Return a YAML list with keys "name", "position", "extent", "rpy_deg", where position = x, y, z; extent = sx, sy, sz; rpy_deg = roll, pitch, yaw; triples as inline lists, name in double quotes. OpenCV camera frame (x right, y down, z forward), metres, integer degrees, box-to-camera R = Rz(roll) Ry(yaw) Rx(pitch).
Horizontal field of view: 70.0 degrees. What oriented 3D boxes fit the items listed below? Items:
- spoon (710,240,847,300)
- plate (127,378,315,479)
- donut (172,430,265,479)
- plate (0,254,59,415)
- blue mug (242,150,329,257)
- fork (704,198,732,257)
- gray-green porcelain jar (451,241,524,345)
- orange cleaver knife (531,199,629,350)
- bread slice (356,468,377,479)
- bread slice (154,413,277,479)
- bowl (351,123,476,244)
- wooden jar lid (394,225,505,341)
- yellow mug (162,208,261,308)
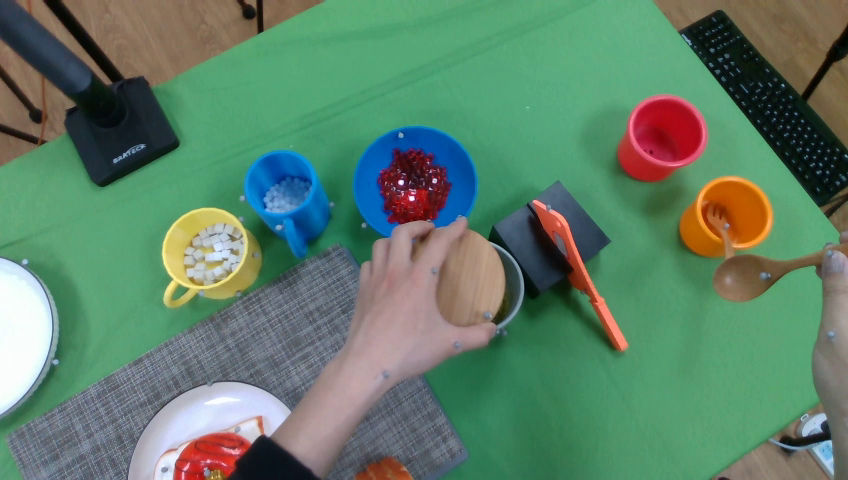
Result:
- name: "spoon"
  position: [0.288, 0.015, 0.454]
  extent: [0.022, 0.194, 0.041]
  rpy_deg: [0, 77, -13]
- name: "plate"
  position: [-0.224, 0.263, 0.685]
  extent: [0.209, 0.038, 0.208]
  rpy_deg: [0, 75, 0]
- name: "donut"
  position: [-0.222, 0.257, 0.657]
  extent: [0.099, 0.048, 0.098]
  rpy_deg: [1, 75, -3]
- name: "plate"
  position: [-0.539, 0.119, 0.726]
  extent: [0.208, 0.039, 0.206]
  rpy_deg: [0, 75, 0]
- name: "blue mug"
  position: [-0.163, -0.036, 0.736]
  extent: [0.082, 0.106, 0.116]
  rpy_deg: [-11, 75, -3]
- name: "fork"
  position: [0.346, 0.001, 0.705]
  extent: [0.028, 0.019, 0.206]
  rpy_deg: [30, 33, 2]
- name: "gray-green porcelain jar"
  position: [0.053, 0.065, 0.699]
  extent: [0.106, 0.127, 0.105]
  rpy_deg: [0, 74, 0]
- name: "orange cleaver knife"
  position: [0.186, 0.042, 0.728]
  extent: [0.012, 0.076, 0.212]
  rpy_deg: [-34, 107, -9]
- name: "bread slice"
  position: [-0.043, 0.291, 0.633]
  extent: [0.018, 0.135, 0.106]
  rpy_deg: [-23, 74, -15]
- name: "bread slice"
  position: [-0.237, 0.269, 0.687]
  extent: [0.132, 0.019, 0.104]
  rpy_deg: [-17, 75, -9]
- name: "bowl"
  position: [-0.012, -0.059, 0.757]
  extent: [0.151, 0.077, 0.150]
  rpy_deg: [0, 75, 0]
- name: "wooden jar lid"
  position: [0.024, 0.040, 0.563]
  extent: [0.108, 0.021, 0.108]
  rpy_deg: [-4, 78, 20]
- name: "yellow mug"
  position: [-0.267, 0.029, 0.738]
  extent: [0.099, 0.064, 0.130]
  rpy_deg: [36, 79, 9]
